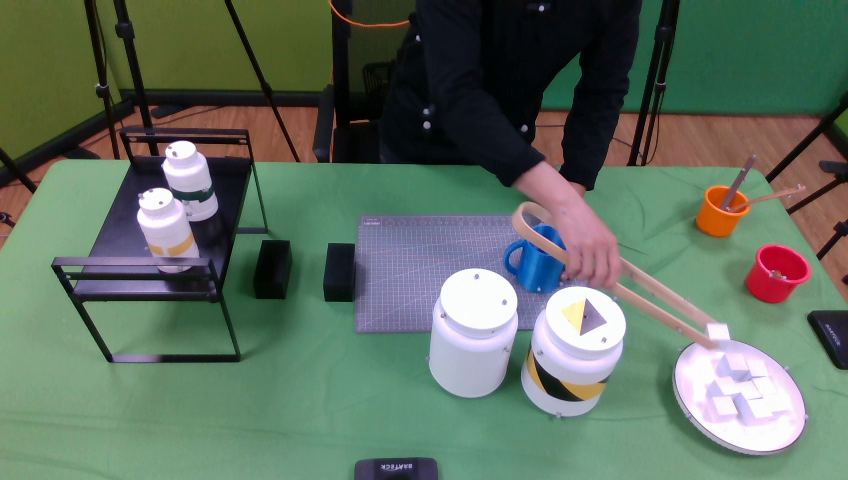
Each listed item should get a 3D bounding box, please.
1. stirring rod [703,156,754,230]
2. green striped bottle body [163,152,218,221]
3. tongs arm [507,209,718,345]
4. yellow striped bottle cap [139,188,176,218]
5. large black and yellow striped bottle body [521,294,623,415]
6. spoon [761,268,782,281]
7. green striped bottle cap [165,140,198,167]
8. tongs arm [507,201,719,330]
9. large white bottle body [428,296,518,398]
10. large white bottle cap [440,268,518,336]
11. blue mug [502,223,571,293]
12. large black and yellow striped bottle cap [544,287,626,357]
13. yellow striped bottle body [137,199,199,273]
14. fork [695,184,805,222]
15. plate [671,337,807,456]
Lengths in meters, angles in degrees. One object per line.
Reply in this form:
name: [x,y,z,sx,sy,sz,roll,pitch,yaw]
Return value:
stirring rod: [0.631,-0.098,1.258,0.014,0.006,0.176,33,95,29]
green striped bottle body: [-0.363,-0.092,0.939,0.063,0.120,0.063,2,46,-2]
tongs arm: [0.296,0.064,0.952,0.388,0.028,0.028,31,57,-4]
yellow striped bottle cap: [-0.363,-0.051,0.826,0.044,0.019,0.044,1,47,-1]
large black and yellow striped bottle body: [0.228,0.173,0.938,0.131,0.185,0.130,2,47,-2]
spoon: [0.638,0.060,1.105,0.041,0.021,0.194,38,11,24]
green striped bottle cap: [-0.361,-0.128,0.902,0.044,0.020,0.044,3,47,-3]
tongs arm: [0.305,0.048,0.966,0.385,0.026,0.050,34,53,-2]
large white bottle body: [0.076,0.147,0.950,0.131,0.185,0.130,2,46,-2]
large white bottle cap: [0.080,0.089,0.888,0.115,0.018,0.114,2,47,-2]
blue mug: [0.202,0.033,1.120,0.116,0.106,0.082,3,47,0]
large black and yellow striped bottle cap: [0.232,0.116,0.876,0.115,0.019,0.114,2,46,-1]
yellow striped bottle body: [-0.366,-0.014,0.864,0.063,0.121,0.062,2,46,-2]
fork: [0.657,-0.075,1.230,0.207,0.019,0.028,-23,34,37]
plate: [0.504,0.254,0.984,0.208,0.039,0.206,2,46,-2]
